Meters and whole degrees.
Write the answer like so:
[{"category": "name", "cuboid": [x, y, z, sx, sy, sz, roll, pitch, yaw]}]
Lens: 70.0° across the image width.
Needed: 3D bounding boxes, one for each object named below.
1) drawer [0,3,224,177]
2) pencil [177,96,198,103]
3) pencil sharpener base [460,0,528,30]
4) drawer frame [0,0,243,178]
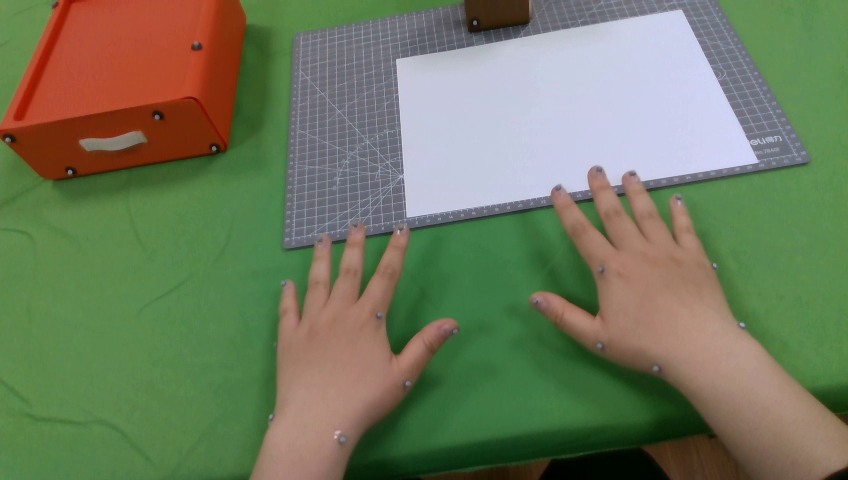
[{"category": "drawer", "cuboid": [-0.305, -0.176, 0.637, 0.194, 0.074, 0.209, -9, 55, 5]}, {"category": "pencil", "cuboid": [-0.300, -0.164, 0.663, 0.193, 0.012, 0.012, 15, 61, 25]}, {"category": "pencil sharpener base", "cuboid": [0.064, -0.278, 0.618, 0.076, 0.108, 0.061, -8, 56, 6]}, {"category": "drawer frame", "cuboid": [-0.306, -0.179, 0.637, 0.201, 0.083, 0.211, -9, 55, 5]}]
